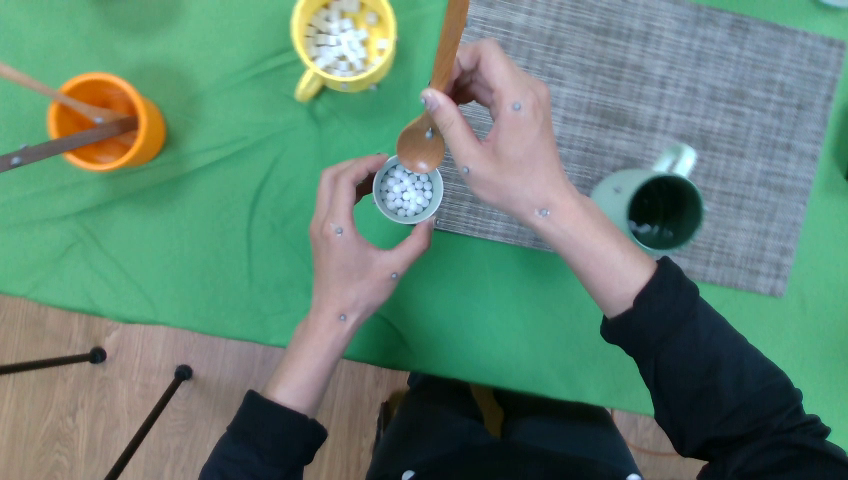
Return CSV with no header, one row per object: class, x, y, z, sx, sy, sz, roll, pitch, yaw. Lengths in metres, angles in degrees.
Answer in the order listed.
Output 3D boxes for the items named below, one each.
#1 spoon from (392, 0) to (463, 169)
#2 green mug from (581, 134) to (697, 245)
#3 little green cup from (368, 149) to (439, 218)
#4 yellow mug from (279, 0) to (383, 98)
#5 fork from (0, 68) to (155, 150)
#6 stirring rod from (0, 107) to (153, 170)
spoon,0.005,-0.104,0.431,0.041,0.194,0.021,17,68,-2
green mug,0.229,-0.054,0.631,0.093,0.104,0.125,27,93,-5
little green cup,-0.019,-0.049,0.533,0.061,0.038,0.061,0,93,-6
yellow mug,-0.100,-0.199,0.616,0.100,0.064,0.131,36,93,-7
fork,-0.352,-0.135,0.562,0.209,0.018,0.028,26,90,-49
stirring rod,-0.338,-0.095,0.573,0.176,0.006,0.014,-36,101,-42
